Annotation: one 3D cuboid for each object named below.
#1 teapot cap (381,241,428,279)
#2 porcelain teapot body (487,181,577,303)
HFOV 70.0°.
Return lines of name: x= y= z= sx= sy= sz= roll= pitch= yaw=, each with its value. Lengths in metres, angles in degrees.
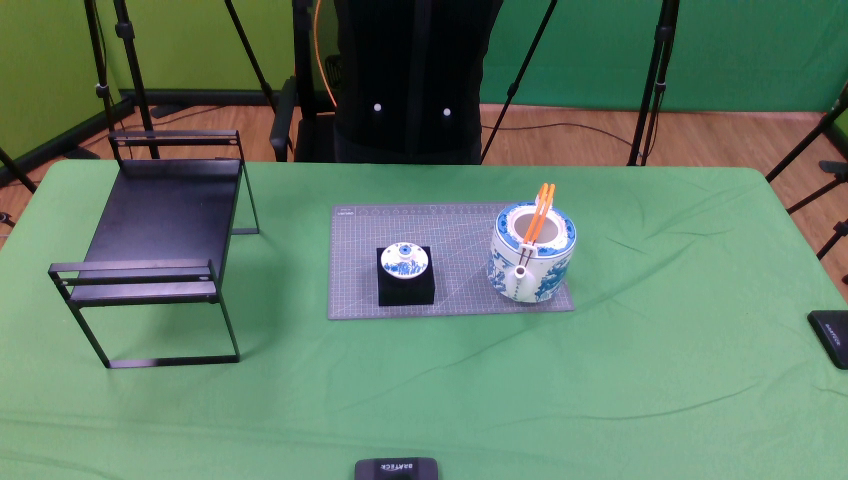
teapot cap: x=-0.034 y=0.031 z=1.075 sx=0.085 sy=0.044 sz=0.084 roll=2 pitch=49 yaw=-2
porcelain teapot body: x=0.185 y=0.018 z=1.048 sx=0.145 sy=0.226 sz=0.204 roll=15 pitch=48 yaw=10
